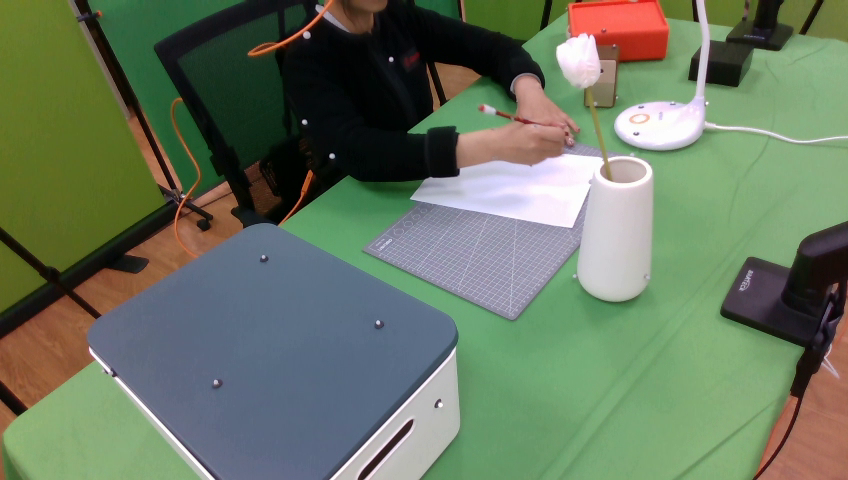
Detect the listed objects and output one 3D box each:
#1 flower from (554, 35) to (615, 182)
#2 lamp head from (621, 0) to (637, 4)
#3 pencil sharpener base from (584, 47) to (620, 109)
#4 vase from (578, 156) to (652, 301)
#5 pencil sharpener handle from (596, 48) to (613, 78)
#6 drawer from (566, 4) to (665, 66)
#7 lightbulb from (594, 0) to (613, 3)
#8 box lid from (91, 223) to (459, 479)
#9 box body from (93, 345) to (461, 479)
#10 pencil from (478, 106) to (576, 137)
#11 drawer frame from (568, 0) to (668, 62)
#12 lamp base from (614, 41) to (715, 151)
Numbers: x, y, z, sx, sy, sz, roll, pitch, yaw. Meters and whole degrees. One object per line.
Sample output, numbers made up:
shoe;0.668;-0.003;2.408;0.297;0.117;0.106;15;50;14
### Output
flower;0.237;-0.083;0.774;0.044;0.363;0.038;-22;26;7
lamp head;0.319;-0.453;0.962;0.113;0.123;0.112;20;33;-13
pencil sharpener base;0.367;-0.336;1.249;0.061;0.107;0.076;6;42;19
vase;0.261;-0.011;0.812;0.098;0.201;0.097;-4;40;4
pencil sharpener handle;0.382;-0.378;1.276;0.036;0.068;0.030;3;41;21
drawer;0.447;-0.493;1.441;0.211;0.073;0.194;0;40;10
lightbulb;0.305;-0.437;0.977;0.060;0.107;0.059;12;44;-11
box lid;-0.174;0.103;0.667;0.368;0.015;0.264;24;49;35
box body;-0.162;0.170;0.708;0.361;0.161;0.255;25;50;34
pencil;0.176;-0.195;1.007;0.195;0.012;0.012;11;34;-23
drawer frame;0.450;-0.496;1.441;0.213;0.083;0.201;-1;40;9
lamp base;0.449;-0.277;1.106;0.179;0.181;0.160;1;41;9
